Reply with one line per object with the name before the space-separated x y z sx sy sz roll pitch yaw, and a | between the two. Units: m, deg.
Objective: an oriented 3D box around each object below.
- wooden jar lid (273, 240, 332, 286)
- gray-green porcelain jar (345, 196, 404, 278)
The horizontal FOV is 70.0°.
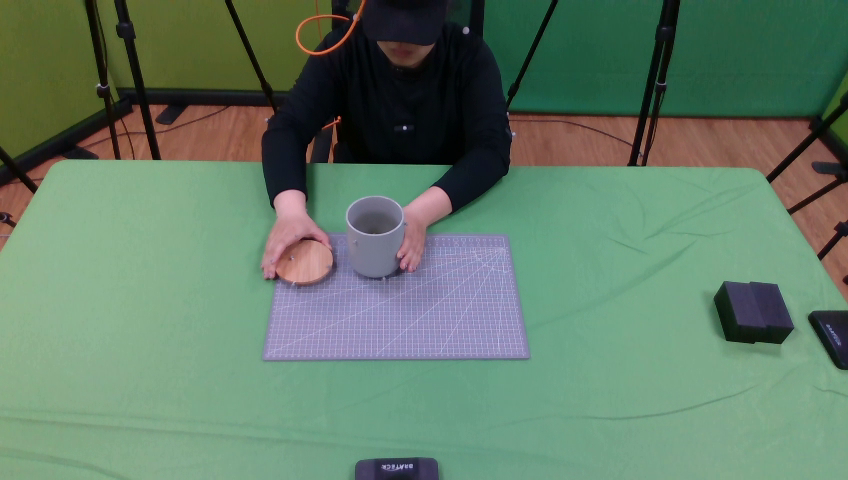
wooden jar lid | -0.227 0.044 1.137 0.108 0.021 0.107 3 47 -3
gray-green porcelain jar | -0.091 -0.001 1.117 0.106 0.127 0.105 2 46 -2
